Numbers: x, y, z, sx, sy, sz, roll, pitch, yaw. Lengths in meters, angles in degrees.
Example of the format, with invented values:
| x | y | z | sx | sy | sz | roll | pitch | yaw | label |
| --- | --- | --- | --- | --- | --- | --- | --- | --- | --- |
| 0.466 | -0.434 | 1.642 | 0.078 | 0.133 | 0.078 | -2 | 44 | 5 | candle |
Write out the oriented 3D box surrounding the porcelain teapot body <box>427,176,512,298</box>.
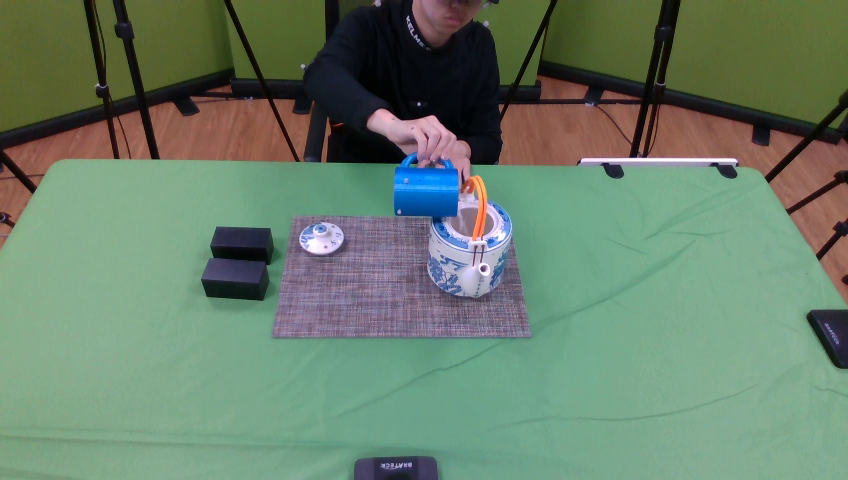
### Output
| x | y | z | sx | sy | sz | roll | pitch | yaw | label |
| --- | --- | --- | --- | --- | --- | --- | --- | --- | --- |
| 0.085 | 0.010 | 1.051 | 0.145 | 0.226 | 0.204 | -5 | 47 | -8 | porcelain teapot body |

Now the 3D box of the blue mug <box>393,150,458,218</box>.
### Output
| x | y | z | sx | sy | sz | roll | pitch | yaw | label |
| --- | --- | --- | --- | --- | --- | --- | --- | --- | --- |
| 0.003 | -0.097 | 1.018 | 0.106 | 0.082 | 0.116 | 2 | 78 | 0 | blue mug |

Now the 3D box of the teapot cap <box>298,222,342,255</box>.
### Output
| x | y | z | sx | sy | sz | roll | pitch | yaw | label |
| --- | --- | --- | --- | --- | --- | --- | --- | --- | --- |
| -0.201 | -0.008 | 1.171 | 0.085 | 0.044 | 0.084 | 1 | 48 | -1 | teapot cap |
